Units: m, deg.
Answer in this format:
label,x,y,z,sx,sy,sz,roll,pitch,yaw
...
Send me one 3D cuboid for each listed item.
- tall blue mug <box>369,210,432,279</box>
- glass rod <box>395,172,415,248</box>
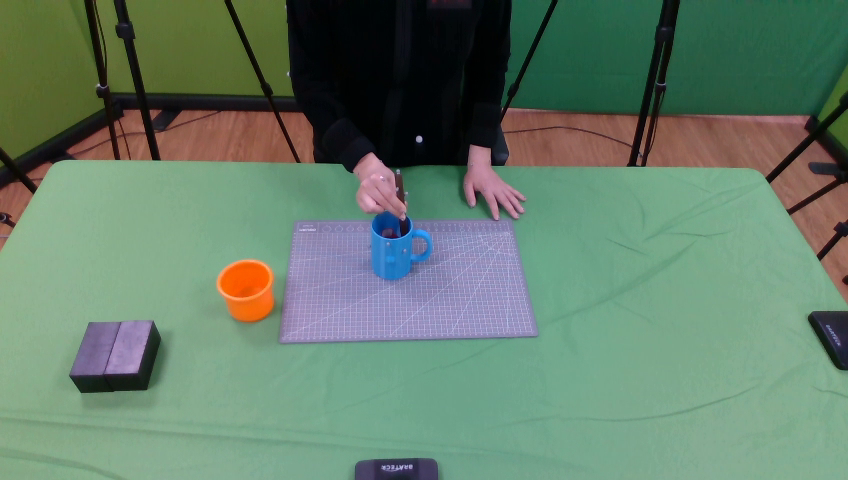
label,x,y,z,sx,sy,sz,roll,pitch,yaw
tall blue mug,-0.048,0.005,1.125,0.107,0.108,0.077,-19,50,-21
glass rod,-0.034,-0.049,1.089,0.008,0.201,0.008,-5,50,6
